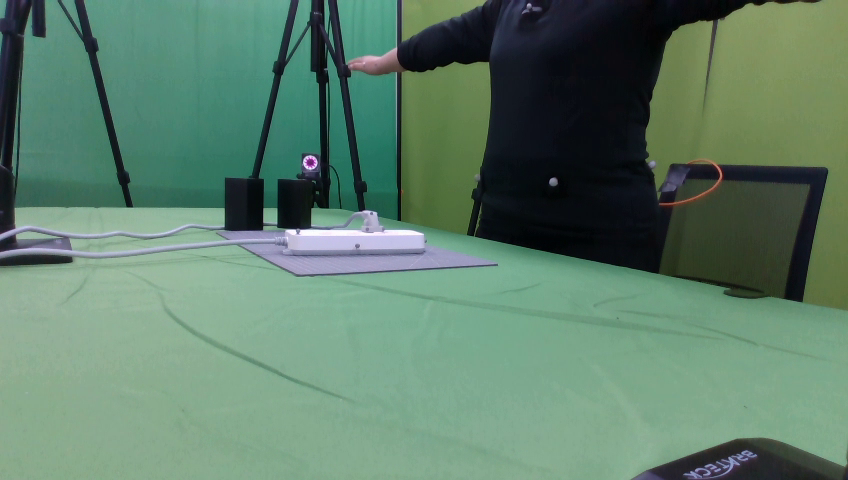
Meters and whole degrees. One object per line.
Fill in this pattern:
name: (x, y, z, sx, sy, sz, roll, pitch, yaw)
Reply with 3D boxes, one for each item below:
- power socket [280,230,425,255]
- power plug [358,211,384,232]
power socket: (-0.105, 0.002, 0.920, 0.228, 0.032, 0.072, -1, 7, -23)
power plug: (-0.085, -0.020, 0.958, 0.035, 0.052, 0.072, 2, 5, -12)
